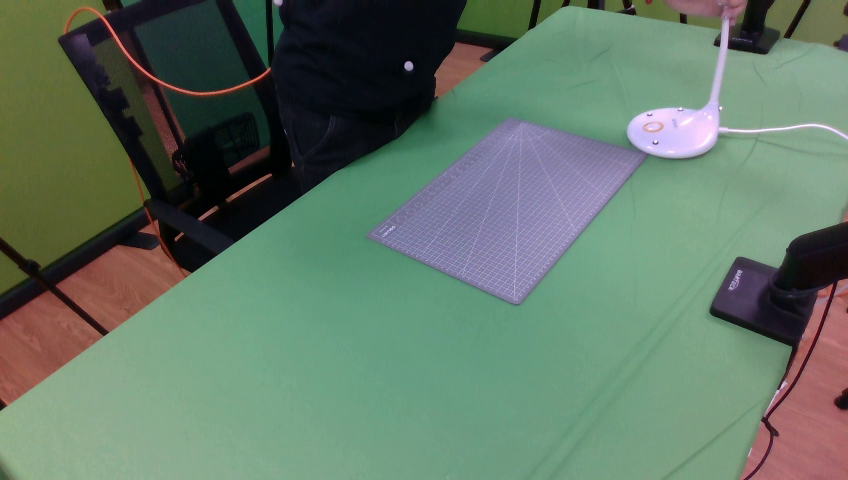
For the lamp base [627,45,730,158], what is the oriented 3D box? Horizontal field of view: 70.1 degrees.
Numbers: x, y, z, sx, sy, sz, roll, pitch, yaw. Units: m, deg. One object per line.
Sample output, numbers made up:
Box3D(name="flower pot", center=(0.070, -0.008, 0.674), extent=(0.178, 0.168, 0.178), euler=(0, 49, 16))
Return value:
Box3D(name="lamp base", center=(0.469, -0.262, 1.086), extent=(0.179, 0.181, 0.159), euler=(-4, 41, -1))
